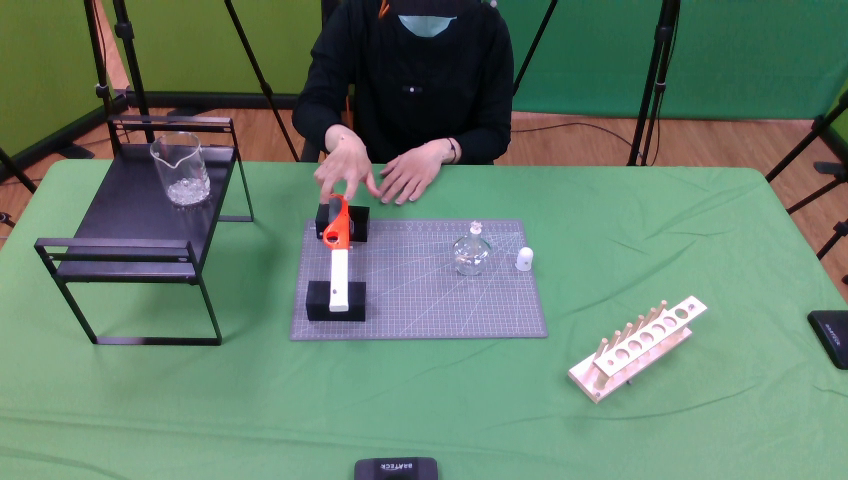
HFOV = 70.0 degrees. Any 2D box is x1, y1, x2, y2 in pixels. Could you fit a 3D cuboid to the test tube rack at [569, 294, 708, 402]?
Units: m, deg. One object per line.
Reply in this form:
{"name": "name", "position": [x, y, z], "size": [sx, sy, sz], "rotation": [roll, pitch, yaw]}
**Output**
{"name": "test tube rack", "position": [0.360, 0.167, 1.015], "size": [0.242, 0.085, 0.066], "rotation": [-25, 52, -25]}

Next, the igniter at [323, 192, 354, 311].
{"name": "igniter", "position": [-0.155, 0.012, 1.098], "size": [0.057, 0.025, 0.274], "rotation": [-2, 48, -7]}

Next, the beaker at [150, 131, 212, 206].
{"name": "beaker", "position": [-0.385, -0.110, 0.969], "size": [0.074, 0.101, 0.083], "rotation": [-6, 48, -9]}

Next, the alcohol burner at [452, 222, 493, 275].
{"name": "alcohol burner", "position": [0.091, 0.009, 1.124], "size": [0.078, 0.119, 0.077], "rotation": [2, 48, -2]}

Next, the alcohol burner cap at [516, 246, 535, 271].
{"name": "alcohol burner cap", "position": [0.195, 0.032, 1.158], "size": [0.034, 0.048, 0.033], "rotation": [2, 45, -2]}
